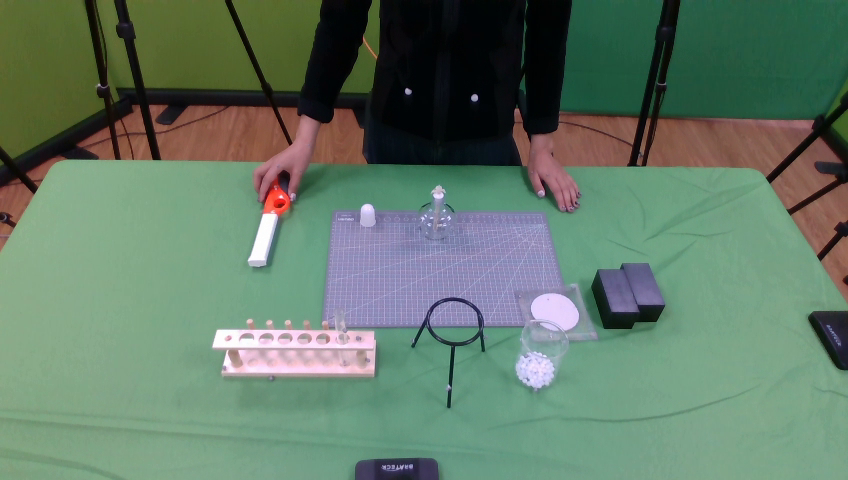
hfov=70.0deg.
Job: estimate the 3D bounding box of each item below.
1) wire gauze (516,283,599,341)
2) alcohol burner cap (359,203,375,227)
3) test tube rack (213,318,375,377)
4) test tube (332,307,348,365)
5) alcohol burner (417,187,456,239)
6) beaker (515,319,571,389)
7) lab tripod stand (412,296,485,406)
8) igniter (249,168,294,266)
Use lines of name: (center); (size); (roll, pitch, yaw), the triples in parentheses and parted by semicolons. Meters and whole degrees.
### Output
wire gauze: (0.240, 0.131, 1.094); (0.125, 0.011, 0.120); (-3, 48, -8)
alcohol burner cap: (-0.115, -0.053, 1.224); (0.034, 0.048, 0.033); (2, 47, -2)
test tube rack: (-0.202, 0.170, 0.977); (0.242, 0.085, 0.066); (1, 46, -3)
test tube: (-0.128, 0.151, 0.931); (0.017, 0.151, 0.017); (1, 50, -1)
alcohol burner: (0.025, -0.059, 1.189); (0.078, 0.120, 0.077); (1, 48, -1)
beaker: (0.186, 0.186, 0.980); (0.074, 0.101, 0.083); (-23, 51, -24)
lab tripod stand: (0.045, 0.168, 0.963); (0.148, 0.132, 0.147); (3, 47, -3)
igniter: (-0.306, -0.055, 1.225); (0.057, 0.025, 0.275); (0, 46, 3)
